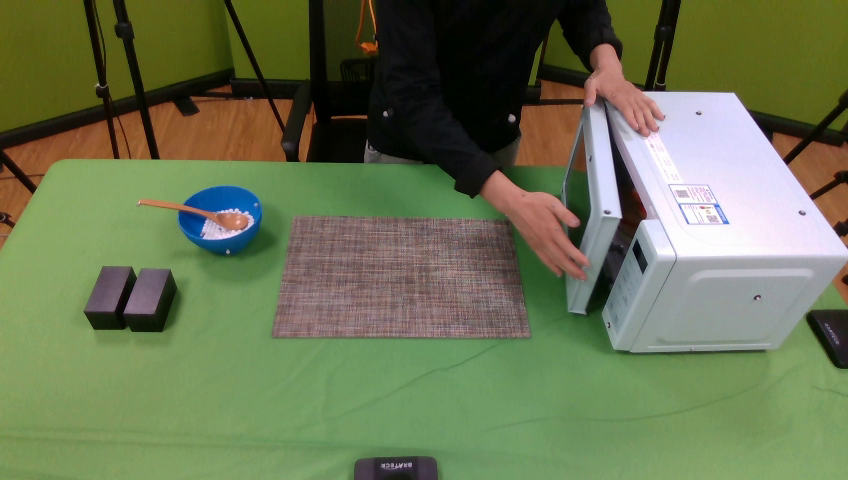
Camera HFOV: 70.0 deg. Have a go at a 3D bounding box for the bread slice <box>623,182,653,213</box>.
[{"bbox_3d":[0.459,-0.078,1.139,0.131,0.019,0.105,34,51,29],"label":"bread slice"}]

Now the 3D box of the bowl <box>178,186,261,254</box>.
[{"bbox_3d":[-0.383,-0.026,1.157,0.151,0.077,0.150,2,46,-2],"label":"bowl"}]

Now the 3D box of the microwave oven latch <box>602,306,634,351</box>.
[{"bbox_3d":[0.332,0.153,1.044,0.030,0.029,0.078,0,45,-4],"label":"microwave oven latch"}]

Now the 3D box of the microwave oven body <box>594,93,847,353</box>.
[{"bbox_3d":[0.475,-0.041,1.110,0.326,0.261,0.438,-1,45,-4],"label":"microwave oven body"}]

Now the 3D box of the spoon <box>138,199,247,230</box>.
[{"bbox_3d":[-0.431,-0.053,1.135,0.194,0.022,0.041,15,47,-20],"label":"spoon"}]

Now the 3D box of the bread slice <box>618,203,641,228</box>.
[{"bbox_3d":[0.462,-0.042,1.175,0.133,0.018,0.107,30,59,27],"label":"bread slice"}]

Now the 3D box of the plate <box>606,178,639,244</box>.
[{"bbox_3d":[0.456,-0.043,1.181,0.208,0.039,0.206,1,46,-1],"label":"plate"}]

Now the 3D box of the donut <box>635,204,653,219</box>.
[{"bbox_3d":[0.454,-0.062,1.160,0.099,0.048,0.098,-1,48,2],"label":"donut"}]

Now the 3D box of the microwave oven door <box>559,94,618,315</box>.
[{"bbox_3d":[0.299,-0.076,1.123,0.039,0.245,0.353,7,46,2],"label":"microwave oven door"}]
